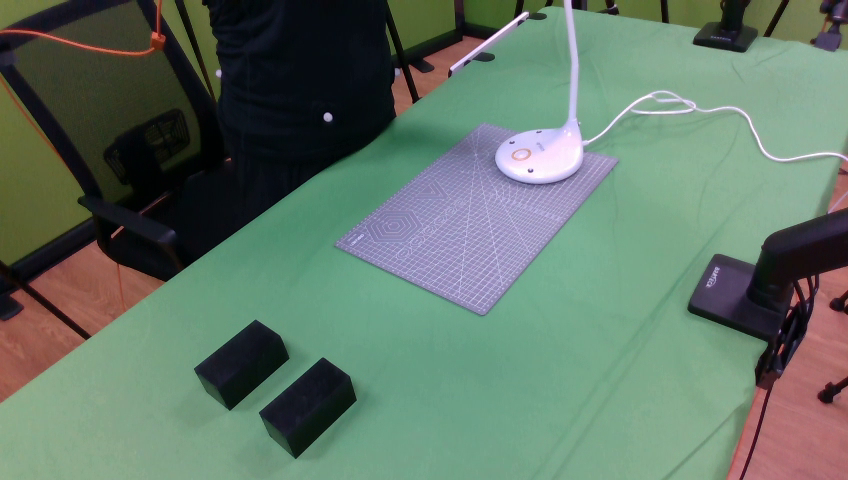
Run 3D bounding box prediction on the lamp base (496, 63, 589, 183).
[{"bbox_3d":[0.216,-0.217,1.067,0.180,0.181,0.159,-19,42,-18],"label":"lamp base"}]
